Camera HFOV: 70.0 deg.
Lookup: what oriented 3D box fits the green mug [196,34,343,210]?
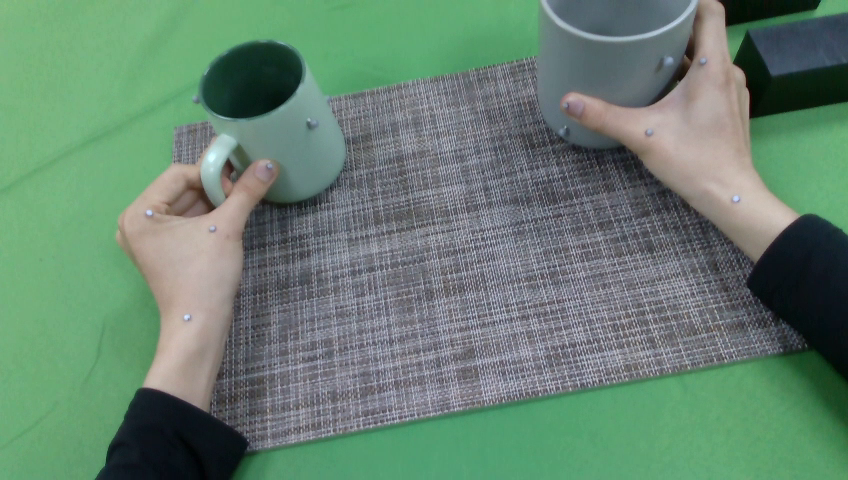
[{"bbox_3d":[-0.125,-0.079,0.467,0.092,0.106,0.125,21,67,17],"label":"green mug"}]

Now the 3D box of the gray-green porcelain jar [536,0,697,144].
[{"bbox_3d":[0.137,-0.143,0.453,0.106,0.127,0.105,-4,61,8],"label":"gray-green porcelain jar"}]
